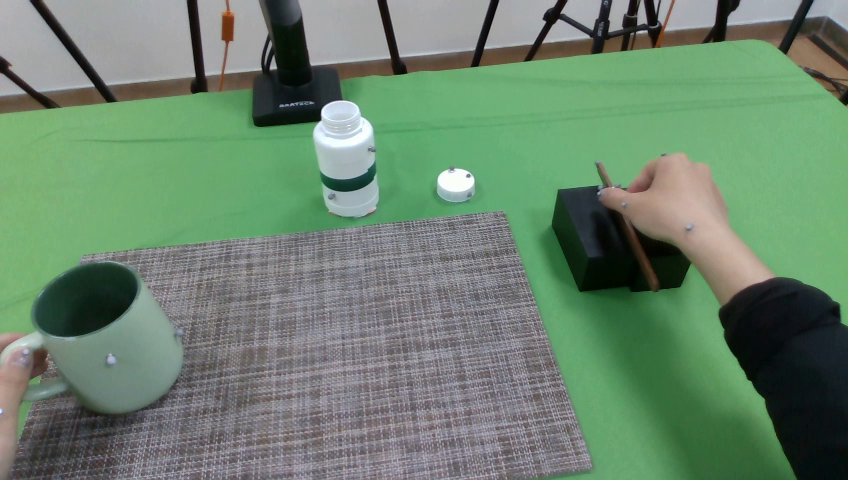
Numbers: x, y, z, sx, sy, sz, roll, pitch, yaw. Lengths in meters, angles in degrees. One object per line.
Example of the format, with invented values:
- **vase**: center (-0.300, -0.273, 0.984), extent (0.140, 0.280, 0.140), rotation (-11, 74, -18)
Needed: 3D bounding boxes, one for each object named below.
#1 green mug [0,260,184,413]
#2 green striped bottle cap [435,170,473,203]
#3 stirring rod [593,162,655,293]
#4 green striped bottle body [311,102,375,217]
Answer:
- **green mug**: center (-0.268, 0.087, 0.486), extent (0.125, 0.106, 0.091), rotation (-27, 51, -24)
- **green striped bottle cap**: center (0.035, -0.062, 0.702), extent (0.044, 0.020, 0.044), rotation (-1, 41, 1)
- **stirring rod**: center (0.191, -0.018, 0.588), extent (0.006, 0.014, 0.174), rotation (-7, 46, 0)
- **green striped bottle body**: center (-0.087, -0.088, 0.654), extent (0.063, 0.120, 0.062), rotation (0, 45, 0)
